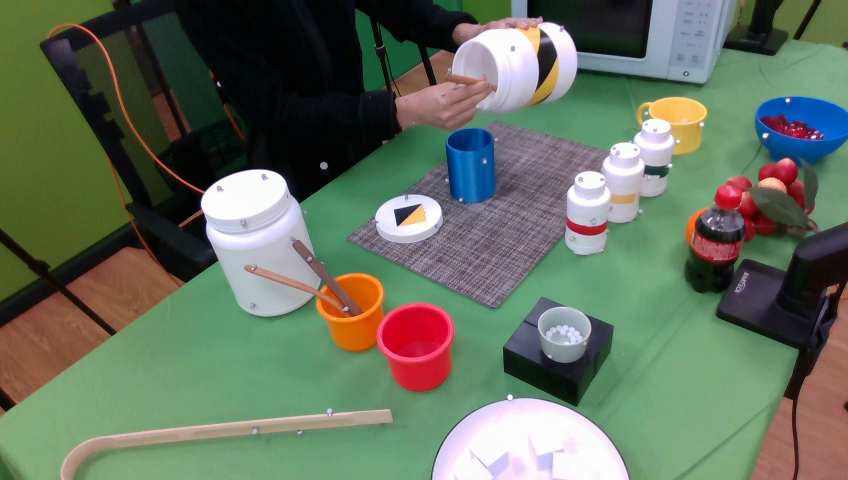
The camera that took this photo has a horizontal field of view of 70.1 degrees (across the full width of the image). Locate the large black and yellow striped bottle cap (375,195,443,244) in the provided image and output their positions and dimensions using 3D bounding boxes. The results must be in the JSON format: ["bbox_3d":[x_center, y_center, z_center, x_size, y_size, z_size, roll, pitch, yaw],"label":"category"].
[{"bbox_3d":[-0.026,-0.036,1.022,0.115,0.019,0.114,-4,41,4],"label":"large black and yellow striped bottle cap"}]

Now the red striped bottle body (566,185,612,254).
[{"bbox_3d":[0.248,-0.041,0.910,0.063,0.120,0.062,-4,41,4],"label":"red striped bottle body"}]

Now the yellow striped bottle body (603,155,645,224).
[{"bbox_3d":[0.314,-0.090,0.958,0.063,0.121,0.062,-4,40,4],"label":"yellow striped bottle body"}]

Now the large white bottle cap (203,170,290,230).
[{"bbox_3d":[-0.241,-0.057,0.822,0.115,0.018,0.114,-4,40,4],"label":"large white bottle cap"}]

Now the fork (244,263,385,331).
[{"bbox_3d":[-0.142,0.077,0.807,0.209,0.018,0.028,30,41,-24],"label":"fork"}]

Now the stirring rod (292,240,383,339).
[{"bbox_3d":[-0.118,0.068,0.826,0.176,0.006,0.014,48,59,-4],"label":"stirring rod"}]

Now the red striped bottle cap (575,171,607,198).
[{"bbox_3d":[0.242,-0.082,0.876,0.044,0.018,0.044,-5,44,5],"label":"red striped bottle cap"}]

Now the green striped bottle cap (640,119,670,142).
[{"bbox_3d":[0.370,-0.174,0.968,0.044,0.020,0.044,-3,41,3],"label":"green striped bottle cap"}]

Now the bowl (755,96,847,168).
[{"bbox_3d":[0.645,-0.177,1.041,0.151,0.077,0.150,-5,40,4],"label":"bowl"}]

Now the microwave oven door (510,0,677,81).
[{"bbox_3d":[0.354,-0.478,1.290,0.353,0.245,0.039,15,45,25],"label":"microwave oven door"}]

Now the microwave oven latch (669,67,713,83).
[{"bbox_3d":[0.556,-0.348,1.262,0.078,0.029,0.030,15,46,26],"label":"microwave oven latch"}]

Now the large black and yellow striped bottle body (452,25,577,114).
[{"bbox_3d":[0.148,-0.282,1.000,0.185,0.131,0.129,-21,39,-36],"label":"large black and yellow striped bottle body"}]

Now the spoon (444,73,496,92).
[{"bbox_3d":[0.101,-0.233,0.935,0.195,0.041,0.021,4,48,-39],"label":"spoon"}]

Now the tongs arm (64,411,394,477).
[{"bbox_3d":[-0.228,0.241,0.715,0.385,0.026,0.050,-5,43,4],"label":"tongs arm"}]

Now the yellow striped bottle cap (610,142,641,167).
[{"bbox_3d":[0.308,-0.131,0.925,0.044,0.019,0.044,-4,45,5],"label":"yellow striped bottle cap"}]

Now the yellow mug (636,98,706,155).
[{"bbox_3d":[0.453,-0.217,1.128,0.100,0.064,0.129,-34,46,-27],"label":"yellow mug"}]

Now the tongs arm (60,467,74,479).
[{"bbox_3d":[-0.239,0.301,0.648,0.386,0.028,0.028,6,49,16],"label":"tongs arm"}]

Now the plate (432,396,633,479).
[{"bbox_3d":[0.112,0.261,0.634,0.209,0.038,0.208,-5,40,4],"label":"plate"}]

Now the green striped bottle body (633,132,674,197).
[{"bbox_3d":[0.376,-0.135,1.001,0.063,0.120,0.063,-5,41,5],"label":"green striped bottle body"}]

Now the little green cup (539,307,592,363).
[{"bbox_3d":[0.168,0.115,0.721,0.061,0.039,0.061,-4,42,4],"label":"little green cup"}]

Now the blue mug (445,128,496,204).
[{"bbox_3d":[0.083,-0.139,1.058,0.082,0.106,0.116,-2,40,6],"label":"blue mug"}]

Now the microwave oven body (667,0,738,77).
[{"bbox_3d":[0.462,-0.552,1.369,0.439,0.261,0.326,15,45,26],"label":"microwave oven body"}]

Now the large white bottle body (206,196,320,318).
[{"bbox_3d":[-0.233,0.008,0.876,0.130,0.185,0.130,-4,40,4],"label":"large white bottle body"}]
